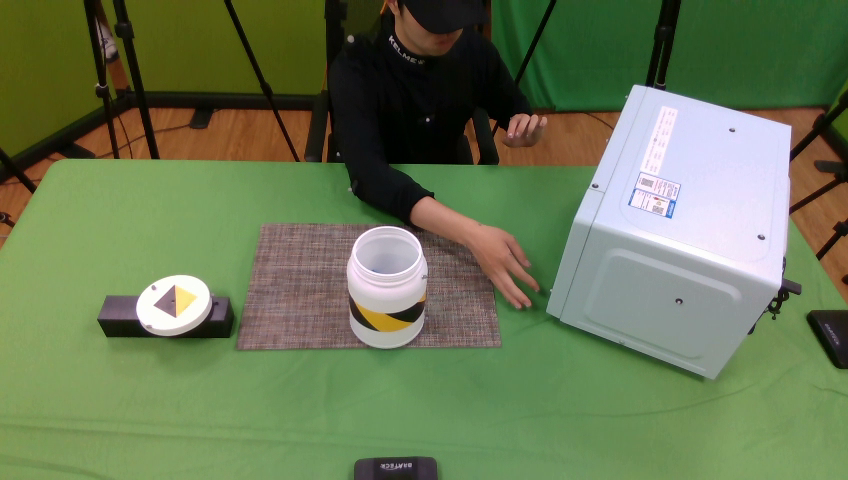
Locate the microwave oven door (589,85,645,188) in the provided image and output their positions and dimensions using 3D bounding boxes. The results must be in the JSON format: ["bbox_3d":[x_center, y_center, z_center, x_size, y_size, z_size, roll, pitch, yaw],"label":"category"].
[{"bbox_3d":[0.341,-0.107,1.149,0.039,0.245,0.354,20,48,15],"label":"microwave oven door"}]

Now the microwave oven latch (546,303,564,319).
[{"bbox_3d":[0.242,0.102,1.081,0.030,0.029,0.079,21,48,17],"label":"microwave oven latch"}]

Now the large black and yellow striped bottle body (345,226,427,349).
[{"bbox_3d":[-0.062,0.078,0.998,0.131,0.185,0.130,2,46,-2],"label":"large black and yellow striped bottle body"}]

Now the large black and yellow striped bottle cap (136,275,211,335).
[{"bbox_3d":[-0.412,0.105,0.999,0.115,0.019,0.114,3,46,-3],"label":"large black and yellow striped bottle cap"}]

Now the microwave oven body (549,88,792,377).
[{"bbox_3d":[0.456,-0.028,1.088,0.325,0.261,0.440,20,47,16],"label":"microwave oven body"}]
